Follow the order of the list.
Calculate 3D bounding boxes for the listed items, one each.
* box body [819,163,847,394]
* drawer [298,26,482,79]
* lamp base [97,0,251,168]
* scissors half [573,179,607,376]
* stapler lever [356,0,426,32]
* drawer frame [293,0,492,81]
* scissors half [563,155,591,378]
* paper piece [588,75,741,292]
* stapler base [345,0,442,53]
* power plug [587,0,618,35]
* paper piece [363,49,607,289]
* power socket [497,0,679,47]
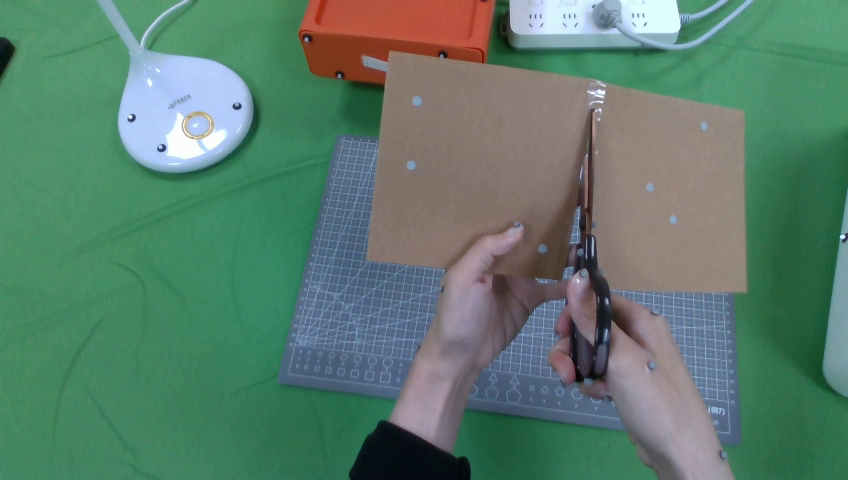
[{"bbox_3d":[0.544,0.001,0.557,0.253,0.161,0.362,19,69,10],"label":"box body"},{"bbox_3d":[-0.021,-0.285,0.699,0.194,0.074,0.210,8,66,6],"label":"drawer"},{"bbox_3d":[-0.302,-0.195,0.663,0.178,0.181,0.160,38,72,20],"label":"lamp base"},{"bbox_3d":[0.099,-0.005,0.368,0.013,0.040,0.173,5,62,0],"label":"scissors half"},{"bbox_3d":[-0.048,-0.273,0.687,0.117,0.040,0.027,36,88,20],"label":"stapler lever"},{"bbox_3d":[-0.023,-0.288,0.700,0.201,0.083,0.212,7,66,6],"label":"drawer frame"},{"bbox_3d":[0.101,0.001,0.390,0.013,0.040,0.175,4,92,5],"label":"scissors half"},{"bbox_3d":[0.165,-0.036,0.412,0.136,0.004,0.135,6,85,-20],"label":"paper piece"},{"bbox_3d":[-0.039,-0.267,0.711,0.129,0.024,0.041,36,88,19],"label":"stapler base"},{"bbox_3d":[0.214,-0.263,0.730,0.035,0.053,0.072,11,67,6],"label":"power plug"},{"bbox_3d":[0.033,-0.044,0.384,0.135,0.008,0.138,11,103,11],"label":"paper piece"},{"bbox_3d":[0.206,-0.280,0.763,0.227,0.033,0.071,1,67,2],"label":"power socket"}]
